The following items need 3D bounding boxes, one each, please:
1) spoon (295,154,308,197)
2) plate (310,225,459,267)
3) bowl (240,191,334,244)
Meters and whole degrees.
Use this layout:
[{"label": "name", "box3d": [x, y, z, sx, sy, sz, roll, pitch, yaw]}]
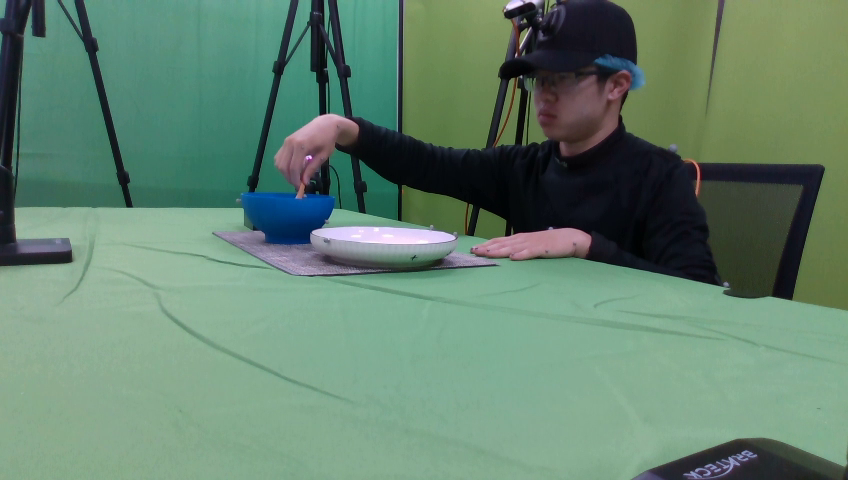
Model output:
[{"label": "spoon", "box3d": [-0.216, -0.088, 1.048, 0.042, 0.193, 0.021, 32, -51, -29]}, {"label": "plate", "box3d": [-0.055, 0.008, 0.851, 0.208, 0.039, 0.207, 2, 7, 0]}, {"label": "bowl", "box3d": [-0.223, -0.037, 0.992, 0.151, 0.077, 0.151, 2, 8, 0]}]
